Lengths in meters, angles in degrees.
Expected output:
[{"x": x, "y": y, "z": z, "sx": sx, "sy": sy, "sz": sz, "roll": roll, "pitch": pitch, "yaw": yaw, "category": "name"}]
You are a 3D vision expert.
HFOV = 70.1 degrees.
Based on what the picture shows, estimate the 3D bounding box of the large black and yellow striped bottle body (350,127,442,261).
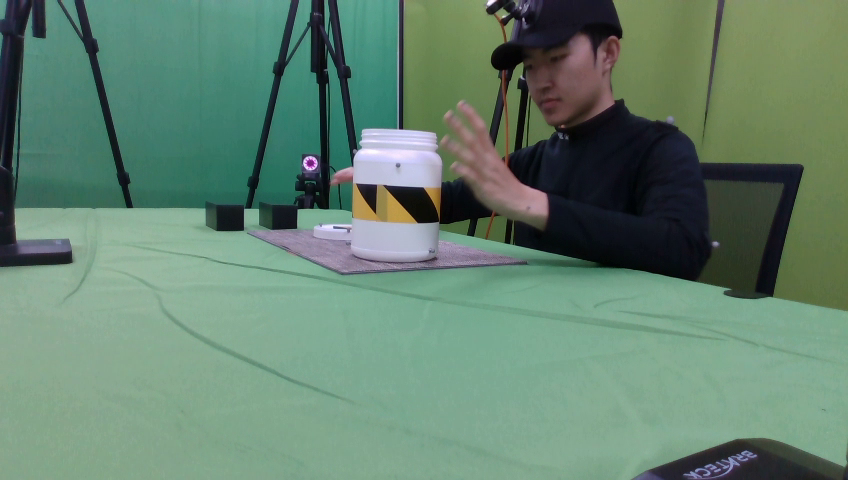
[{"x": -0.040, "y": -0.068, "z": 0.881, "sx": 0.131, "sy": 0.184, "sz": 0.130, "roll": 2, "pitch": 7, "yaw": 0, "category": "large black and yellow striped bottle body"}]

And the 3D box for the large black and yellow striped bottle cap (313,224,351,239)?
[{"x": -0.145, "y": -0.016, "z": 1.107, "sx": 0.115, "sy": 0.019, "sz": 0.115, "roll": 3, "pitch": 7, "yaw": 0, "category": "large black and yellow striped bottle cap"}]
